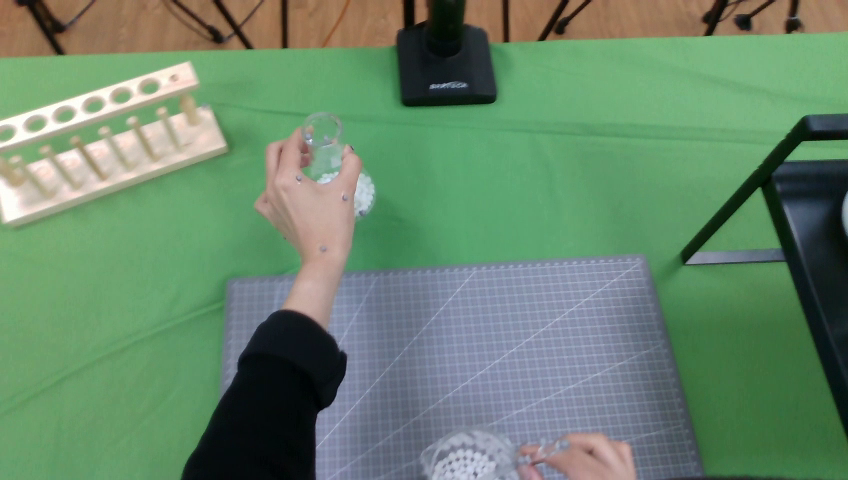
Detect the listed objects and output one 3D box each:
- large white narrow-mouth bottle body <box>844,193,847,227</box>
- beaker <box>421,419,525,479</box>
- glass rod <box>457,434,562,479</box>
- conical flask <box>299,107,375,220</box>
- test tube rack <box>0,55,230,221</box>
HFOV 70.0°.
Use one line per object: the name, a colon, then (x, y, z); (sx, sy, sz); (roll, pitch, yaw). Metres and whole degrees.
large white narrow-mouth bottle body: (0.383, -0.053, 0.399); (0.102, 0.196, 0.101); (0, 63, 0)
beaker: (0.036, 0.197, 0.513); (0.084, 0.101, 0.073); (19, 64, 7)
glass rod: (0.058, 0.168, 0.461); (0.008, 0.200, 0.008); (7, 61, -13)
conical flask: (-0.091, -0.078, 0.592); (0.075, 0.123, 0.074); (-1, 63, 2)
test tube rack: (-0.346, -0.110, 0.654); (0.242, 0.086, 0.066); (-23, 67, -13)
